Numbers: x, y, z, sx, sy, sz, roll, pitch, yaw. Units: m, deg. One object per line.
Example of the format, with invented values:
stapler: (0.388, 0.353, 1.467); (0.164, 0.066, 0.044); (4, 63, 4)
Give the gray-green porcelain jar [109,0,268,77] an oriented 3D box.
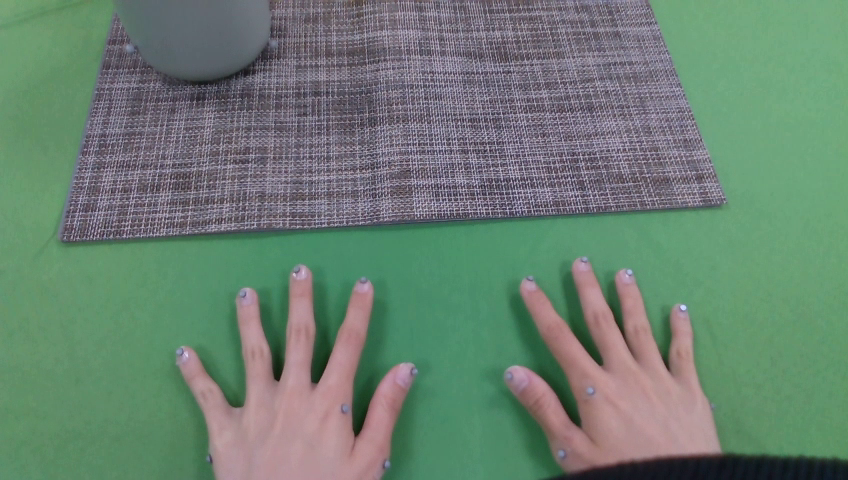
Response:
gray-green porcelain jar: (-0.170, -0.189, 0.424); (0.106, 0.127, 0.105); (1, 61, -2)
